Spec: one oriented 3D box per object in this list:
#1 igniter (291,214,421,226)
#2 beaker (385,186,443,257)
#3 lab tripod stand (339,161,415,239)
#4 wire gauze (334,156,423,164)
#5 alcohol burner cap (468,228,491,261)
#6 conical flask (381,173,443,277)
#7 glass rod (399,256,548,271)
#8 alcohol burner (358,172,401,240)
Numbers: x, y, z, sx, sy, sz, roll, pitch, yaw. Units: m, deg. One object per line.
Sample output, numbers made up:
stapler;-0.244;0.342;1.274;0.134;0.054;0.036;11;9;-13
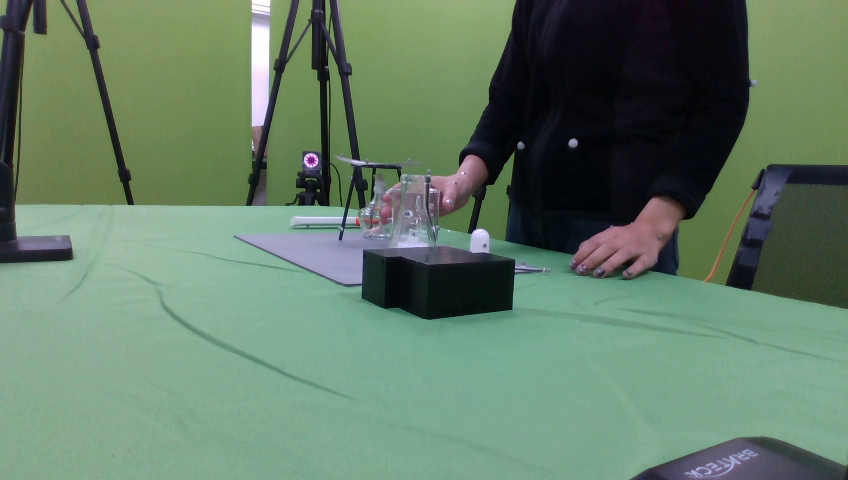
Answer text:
igniter;-0.135;-0.041;1.250;0.278;0.025;0.057;-1;-3;-28
beaker;-0.015;-0.028;0.886;0.084;0.100;0.074;0;7;-9
lab tripod stand;-0.082;-0.070;1.059;0.148;0.131;0.148;4;6;0
wire gauze;-0.081;-0.137;1.051;0.122;0.011;0.124;0;8;-30
alcohol burner cap;0.082;0.006;0.878;0.034;0.048;0.034;3;8;0
conical flask;-0.012;-0.020;0.731;0.075;0.122;0.075;2;7;0
glass rod;0.064;0.030;0.806;0.199;0.008;0.008;4;7;10
alcohol burner;-0.077;-0.061;1.065;0.078;0.119;0.078;4;9;0
